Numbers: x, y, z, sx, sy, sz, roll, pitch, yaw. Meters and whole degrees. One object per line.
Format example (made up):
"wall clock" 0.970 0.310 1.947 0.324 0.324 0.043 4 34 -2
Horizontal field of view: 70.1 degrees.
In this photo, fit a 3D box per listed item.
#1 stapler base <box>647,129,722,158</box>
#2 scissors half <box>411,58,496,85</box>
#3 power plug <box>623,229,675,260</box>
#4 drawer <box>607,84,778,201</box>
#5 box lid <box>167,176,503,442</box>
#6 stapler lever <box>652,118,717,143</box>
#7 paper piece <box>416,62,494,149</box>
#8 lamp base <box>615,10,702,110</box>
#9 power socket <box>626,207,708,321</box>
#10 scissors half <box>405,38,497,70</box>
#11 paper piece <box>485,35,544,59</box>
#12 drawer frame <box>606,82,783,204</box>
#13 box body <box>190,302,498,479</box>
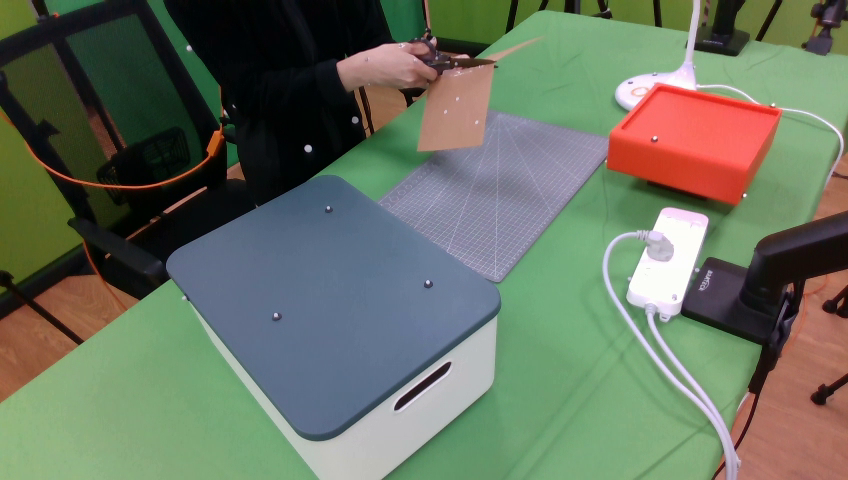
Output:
"stapler base" 0.439 -0.167 1.023 0.131 0.024 0.041 -16 25 -15
"scissors half" 0.047 -0.280 0.990 0.174 0.040 0.013 3 41 44
"power plug" 0.327 0.007 0.878 0.072 0.053 0.035 25 51 32
"drawer" 0.438 -0.167 0.995 0.210 0.073 0.195 23 48 30
"box lid" -0.119 0.047 0.714 0.264 0.015 0.368 -32 47 -27
"stapler lever" 0.436 -0.191 1.014 0.118 0.040 0.026 -16 25 -16
"paper piece" 0.048 -0.213 0.969 0.134 0.004 0.135 4 81 42
"lamp base" 0.484 -0.364 1.211 0.180 0.181 0.159 -15 41 -14
"power socket" 0.360 0.026 0.886 0.072 0.033 0.227 16 46 26
"scissors half" 0.041 -0.296 0.977 0.174 0.040 0.013 22 57 24
"paper piece" 0.115 -0.309 1.024 0.136 0.009 0.137 -31 16 -32
"drawer frame" 0.441 -0.167 0.995 0.212 0.083 0.202 23 48 30
"box body" -0.110 0.103 0.761 0.255 0.161 0.361 -33 46 -27
